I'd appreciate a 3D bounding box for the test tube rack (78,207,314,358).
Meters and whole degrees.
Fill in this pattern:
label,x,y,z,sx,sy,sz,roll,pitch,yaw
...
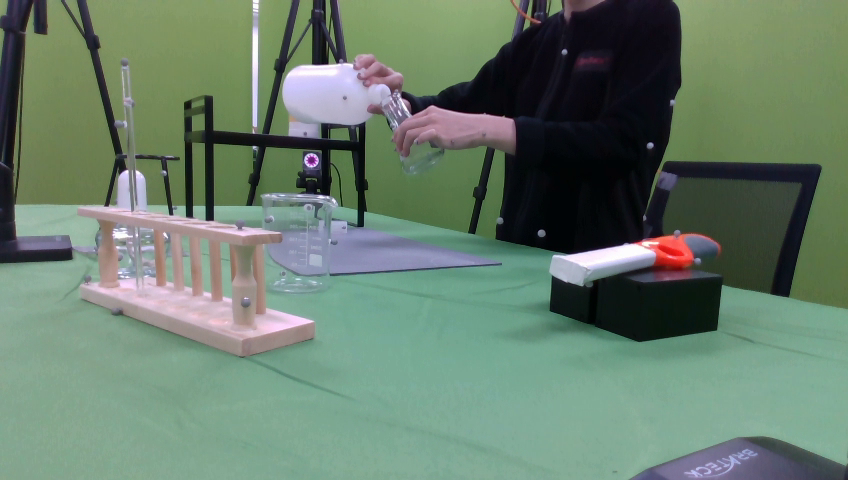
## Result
label,x,y,z,sx,sy,sz,roll,pitch,yaw
test tube rack,-0.196,0.024,0.500,0.241,0.085,0.067,8,8,37

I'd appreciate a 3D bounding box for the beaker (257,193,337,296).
label,x,y,z,sx,sy,sz,roll,pitch,yaw
beaker,-0.130,0.003,0.628,0.084,0.100,0.074,5,8,15

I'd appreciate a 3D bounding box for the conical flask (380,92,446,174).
label,x,y,z,sx,sy,sz,roll,pitch,yaw
conical flask,-0.025,-0.170,0.943,0.075,0.121,0.075,-29,-8,-4

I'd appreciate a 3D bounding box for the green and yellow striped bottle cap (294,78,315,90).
label,x,y,z,sx,sy,sz,roll,pitch,yaw
green and yellow striped bottle cap,-0.248,-0.324,1.256,0.045,0.020,0.045,4,9,0

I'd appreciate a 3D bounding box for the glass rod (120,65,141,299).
label,x,y,z,sx,sy,sz,roll,pitch,yaw
glass rod,-0.248,-0.047,0.513,0.008,0.199,0.008,-1,4,0

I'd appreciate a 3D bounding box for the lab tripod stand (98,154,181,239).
label,x,y,z,sx,sy,sz,roll,pitch,yaw
lab tripod stand,-0.427,-0.066,0.942,0.148,0.131,0.148,1,6,0

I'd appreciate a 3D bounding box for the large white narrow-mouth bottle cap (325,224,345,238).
label,x,y,z,sx,sy,sz,roll,pitch,yaw
large white narrow-mouth bottle cap,-0.160,-0.017,1.090,0.038,0.024,0.037,3,9,0

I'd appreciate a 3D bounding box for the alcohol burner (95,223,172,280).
label,x,y,z,sx,sy,sz,roll,pitch,yaw
alcohol burner,-0.320,-0.016,0.667,0.078,0.119,0.078,0,7,0

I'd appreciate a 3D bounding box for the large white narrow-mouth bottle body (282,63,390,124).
label,x,y,z,sx,sy,sz,roll,pitch,yaw
large white narrow-mouth bottle body,-0.138,-0.243,1.007,0.193,0.101,0.102,11,11,36

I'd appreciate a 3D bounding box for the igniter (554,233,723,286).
label,x,y,z,sx,sy,sz,roll,pitch,yaw
igniter,0.214,0.015,0.570,0.278,0.025,0.057,-5,22,-44

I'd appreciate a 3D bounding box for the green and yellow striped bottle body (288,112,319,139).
label,x,y,z,sx,sy,sz,roll,pitch,yaw
green and yellow striped bottle body,-0.250,-0.272,1.261,0.063,0.119,0.063,3,7,0

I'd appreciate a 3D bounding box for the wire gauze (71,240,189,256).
label,x,y,z,sx,sy,sz,roll,pitch,yaw
wire gauze,-0.399,0.013,0.820,0.126,0.011,0.121,-3,8,-37

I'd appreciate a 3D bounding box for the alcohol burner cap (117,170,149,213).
label,x,y,z,sx,sy,sz,roll,pitch,yaw
alcohol burner cap,-0.320,-0.052,0.661,0.034,0.048,0.034,-3,0,0
